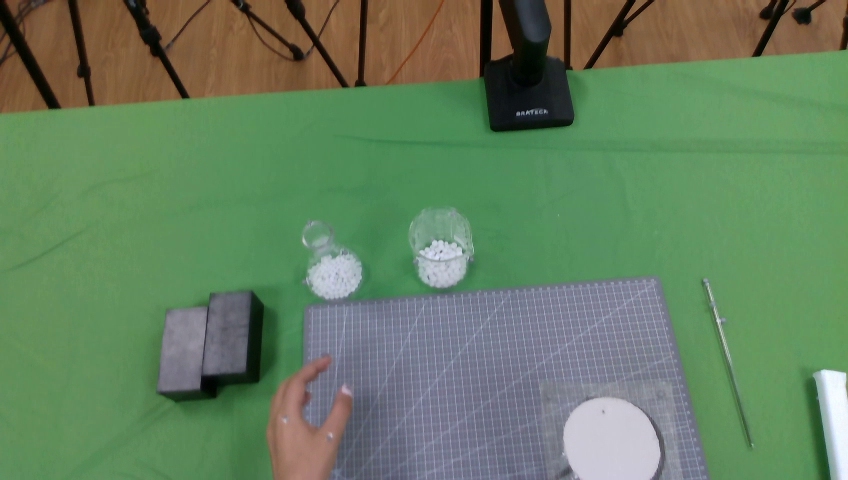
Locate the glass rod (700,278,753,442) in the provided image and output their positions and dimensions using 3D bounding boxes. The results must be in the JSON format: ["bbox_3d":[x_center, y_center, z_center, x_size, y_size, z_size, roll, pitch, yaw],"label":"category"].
[{"bbox_3d":[0.357,0.137,0.718,0.008,0.008,0.198,-5,64,0],"label":"glass rod"}]

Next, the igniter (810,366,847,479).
[{"bbox_3d":[0.446,0.271,0.642,0.057,0.025,0.274,10,65,-5],"label":"igniter"}]

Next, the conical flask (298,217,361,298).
[{"bbox_3d":[-0.120,0.017,0.732,0.075,0.123,0.074,-1,65,2],"label":"conical flask"}]

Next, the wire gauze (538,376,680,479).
[{"bbox_3d":[0.170,0.186,0.556,0.125,0.011,0.120,0,67,4],"label":"wire gauze"}]

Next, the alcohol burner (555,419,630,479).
[{"bbox_3d":[0.177,0.221,0.625,0.078,0.120,0.077,-2,65,4],"label":"alcohol burner"}]

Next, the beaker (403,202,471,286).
[{"bbox_3d":[0.019,0.010,0.742,0.083,0.101,0.074,29,70,14],"label":"beaker"}]

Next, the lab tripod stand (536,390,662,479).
[{"bbox_3d":[0.175,0.216,0.617,0.148,0.132,0.147,-1,66,3],"label":"lab tripod stand"}]
